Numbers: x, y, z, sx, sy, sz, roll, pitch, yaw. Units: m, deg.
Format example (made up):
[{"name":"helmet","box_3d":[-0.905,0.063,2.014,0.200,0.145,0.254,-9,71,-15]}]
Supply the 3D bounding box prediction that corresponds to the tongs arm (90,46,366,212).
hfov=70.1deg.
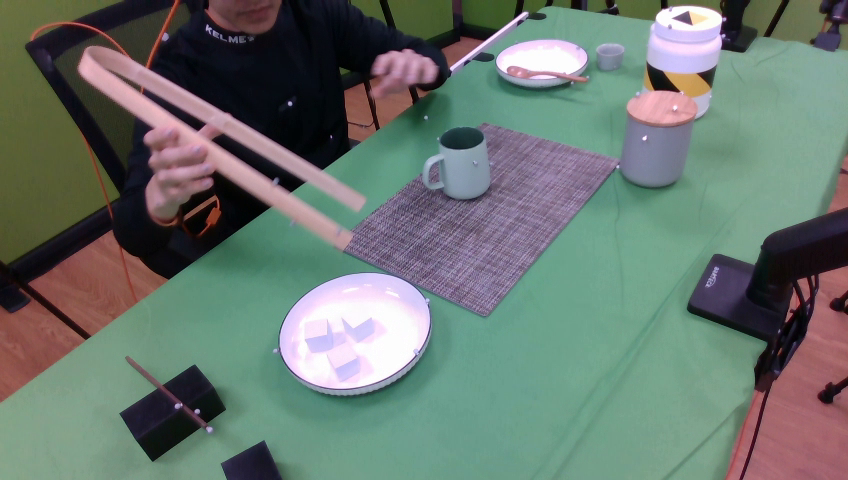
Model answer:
[{"name":"tongs arm","box_3d":[-0.248,-0.140,0.808,0.390,0.027,0.028,30,31,-19]}]

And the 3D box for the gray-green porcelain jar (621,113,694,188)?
[{"name":"gray-green porcelain jar","box_3d":[0.390,-0.161,1.020,0.106,0.127,0.105,-4,41,4]}]

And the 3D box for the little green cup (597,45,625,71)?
[{"name":"little green cup","box_3d":[0.422,-0.413,1.375,0.061,0.039,0.061,-3,41,3]}]

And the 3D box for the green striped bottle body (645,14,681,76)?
[{"name":"green striped bottle body","box_3d":[0.520,-0.424,1.312,0.063,0.120,0.063,-4,41,4]}]

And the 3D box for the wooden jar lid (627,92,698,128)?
[{"name":"wooden jar lid","box_3d":[0.384,-0.207,0.980,0.108,0.021,0.108,-6,39,5]}]

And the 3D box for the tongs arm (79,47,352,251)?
[{"name":"tongs arm","box_3d":[-0.253,-0.109,0.749,0.386,0.026,0.050,34,27,-11]}]

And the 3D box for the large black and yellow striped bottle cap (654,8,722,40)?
[{"name":"large black and yellow striped bottle cap","box_3d":[0.483,-0.397,1.108,0.115,0.019,0.114,-3,42,3]}]

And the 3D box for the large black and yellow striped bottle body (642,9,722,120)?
[{"name":"large black and yellow striped bottle body","box_3d":[0.493,-0.334,1.161,0.131,0.185,0.130,-4,41,4]}]

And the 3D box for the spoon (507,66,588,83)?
[{"name":"spoon","box_3d":[0.265,-0.357,1.311,0.192,0.022,0.042,18,47,38]}]

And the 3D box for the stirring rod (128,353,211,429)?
[{"name":"stirring rod","box_3d":[-0.311,0.180,0.732,0.175,0.014,0.006,25,54,31]}]

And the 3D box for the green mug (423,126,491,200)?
[{"name":"green mug","box_3d":[0.055,-0.125,1.039,0.126,0.105,0.091,-25,44,-19]}]

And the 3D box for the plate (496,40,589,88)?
[{"name":"plate","box_3d":[0.268,-0.397,1.381,0.209,0.038,0.208,-4,41,4]}]

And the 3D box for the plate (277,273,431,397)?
[{"name":"plate","box_3d":[-0.091,0.129,0.821,0.207,0.039,0.206,-4,41,4]}]

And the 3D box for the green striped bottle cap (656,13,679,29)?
[{"name":"green striped bottle cap","box_3d":[0.515,-0.463,1.278,0.044,0.020,0.044,-6,42,6]}]
